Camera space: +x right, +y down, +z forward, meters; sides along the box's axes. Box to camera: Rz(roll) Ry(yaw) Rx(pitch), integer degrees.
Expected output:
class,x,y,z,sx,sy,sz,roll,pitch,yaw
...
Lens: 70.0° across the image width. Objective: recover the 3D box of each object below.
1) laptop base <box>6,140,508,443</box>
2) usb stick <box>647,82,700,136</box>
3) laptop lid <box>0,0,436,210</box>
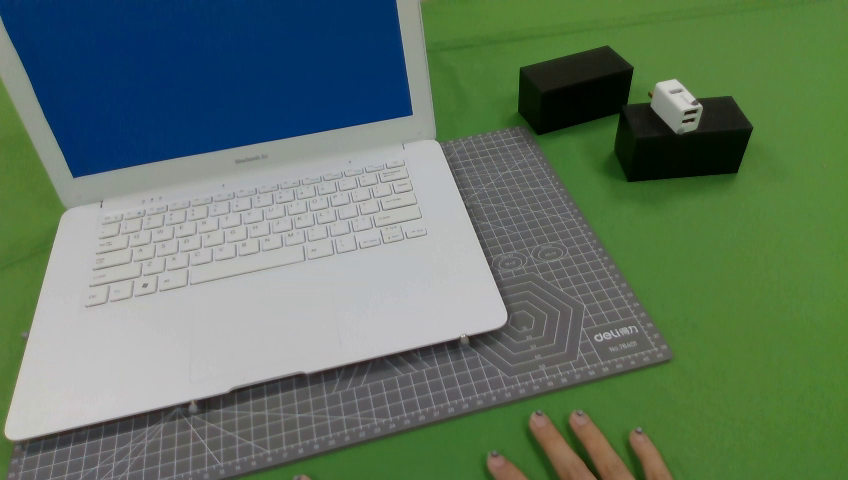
class,x,y,z,sx,sy,sz,roll,pitch,yaw
laptop base,-0.132,0.023,0.500,0.355,0.023,0.233,-12,49,-6
usb stick,0.215,-0.119,0.530,0.021,0.027,0.058,-14,43,-5
laptop lid,-0.173,-0.158,0.521,0.357,0.244,0.013,-13,31,-6
